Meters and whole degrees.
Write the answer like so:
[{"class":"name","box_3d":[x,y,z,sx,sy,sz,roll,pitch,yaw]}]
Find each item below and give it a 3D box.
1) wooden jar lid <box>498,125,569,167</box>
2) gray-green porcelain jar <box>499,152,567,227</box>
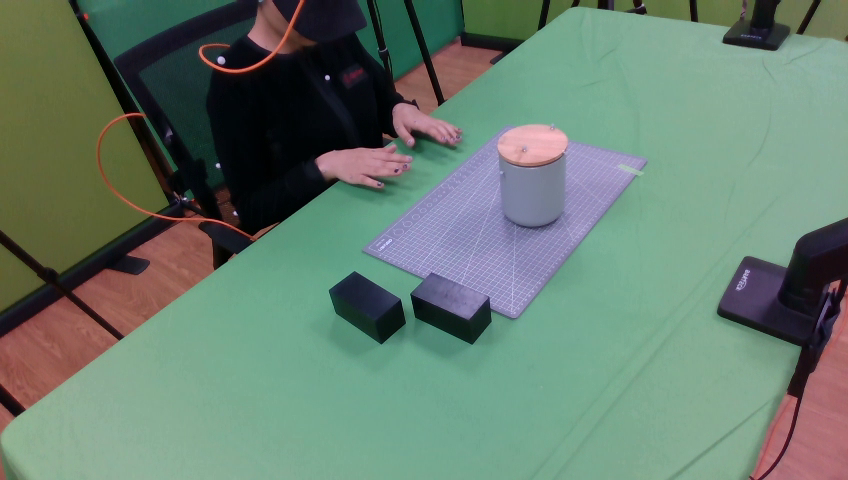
[{"class":"wooden jar lid","box_3d":[0.168,-0.143,0.933,0.108,0.021,0.108,-5,41,4]},{"class":"gray-green porcelain jar","box_3d":[0.177,-0.093,0.974,0.106,0.127,0.105,-5,40,5]}]
